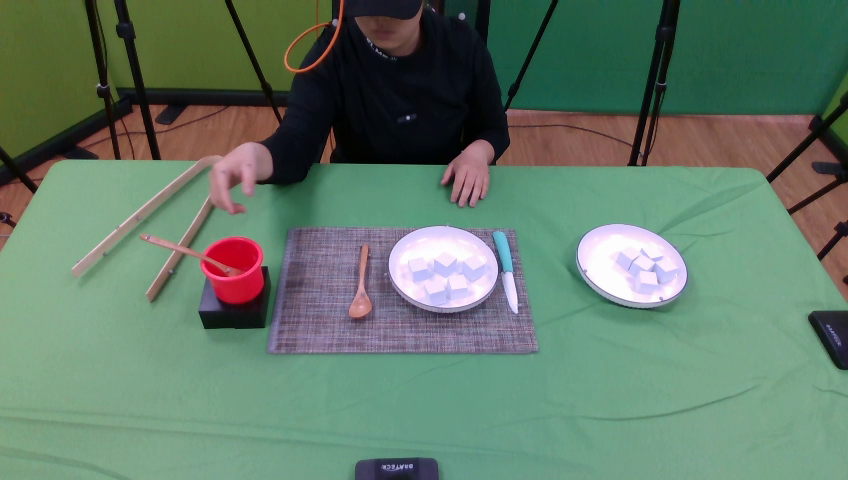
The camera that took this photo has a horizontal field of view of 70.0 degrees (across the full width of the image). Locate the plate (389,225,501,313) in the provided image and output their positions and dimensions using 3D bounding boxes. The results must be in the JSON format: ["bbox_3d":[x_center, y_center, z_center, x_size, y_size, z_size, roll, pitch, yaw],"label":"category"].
[{"bbox_3d":[0.038,0.057,1.128,0.208,0.039,0.206,2,46,-2],"label":"plate"}]

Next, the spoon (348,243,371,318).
[{"bbox_3d":[-0.113,0.070,1.115,0.041,0.022,0.192,-11,46,10],"label":"spoon"}]

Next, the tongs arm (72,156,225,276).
[{"bbox_3d":[-0.531,-0.058,1.205,0.050,0.026,0.383,19,47,12],"label":"tongs arm"}]

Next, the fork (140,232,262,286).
[{"bbox_3d":[-0.357,0.032,0.985,0.208,0.018,0.028,30,41,-35],"label":"fork"}]

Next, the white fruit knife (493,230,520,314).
[{"bbox_3d":[0.160,0.057,1.154,0.027,0.016,0.206,-21,46,16],"label":"white fruit knife"}]

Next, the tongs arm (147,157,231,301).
[{"bbox_3d":[-0.454,-0.034,1.194,0.028,0.028,0.385,7,46,6],"label":"tongs arm"}]

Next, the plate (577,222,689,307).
[{"bbox_3d":[0.396,0.050,1.165,0.209,0.038,0.208,2,47,-2],"label":"plate"}]
